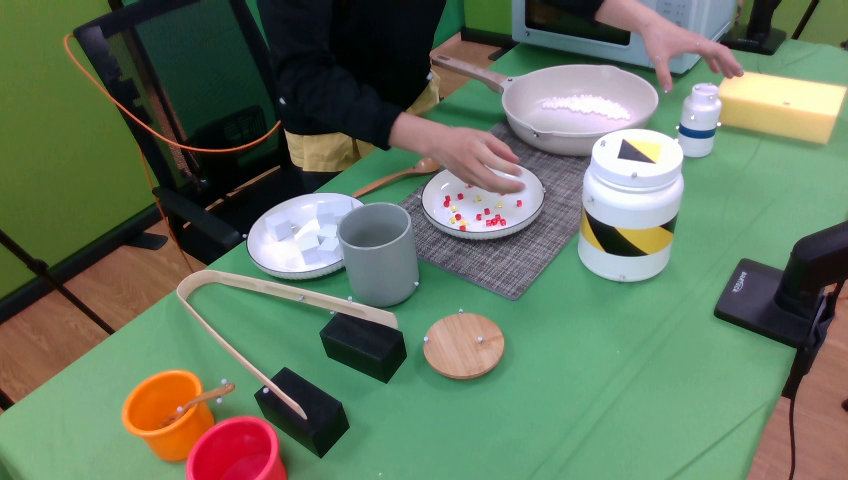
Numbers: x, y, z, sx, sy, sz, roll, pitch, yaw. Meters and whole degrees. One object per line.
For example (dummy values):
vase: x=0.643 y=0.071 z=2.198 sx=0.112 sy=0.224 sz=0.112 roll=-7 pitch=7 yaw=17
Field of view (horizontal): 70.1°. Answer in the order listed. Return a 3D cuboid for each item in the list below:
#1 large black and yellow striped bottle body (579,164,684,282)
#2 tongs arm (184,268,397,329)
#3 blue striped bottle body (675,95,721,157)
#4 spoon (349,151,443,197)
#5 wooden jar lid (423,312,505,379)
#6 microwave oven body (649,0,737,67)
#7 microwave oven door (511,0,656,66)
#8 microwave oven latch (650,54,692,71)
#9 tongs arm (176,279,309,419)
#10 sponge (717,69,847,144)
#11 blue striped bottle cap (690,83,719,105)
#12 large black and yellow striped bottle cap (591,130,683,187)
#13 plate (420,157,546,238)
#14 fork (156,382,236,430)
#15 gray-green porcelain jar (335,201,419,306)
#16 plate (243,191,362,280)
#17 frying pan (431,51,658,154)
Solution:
large black and yellow striped bottle body: x=0.291 y=-0.046 z=0.858 sx=0.131 sy=0.185 sz=0.130 roll=-4 pitch=41 yaw=4
tongs arm: x=-0.202 y=0.084 z=0.848 sx=0.382 sy=0.027 sz=0.051 roll=11 pitch=45 yaw=35
blue striped bottle body: x=0.486 y=-0.213 z=1.072 sx=0.063 sy=0.121 sz=0.063 roll=-4 pitch=41 yaw=4
spoon: x=-0.051 y=-0.123 z=1.121 sx=0.194 sy=0.022 sz=0.041 roll=-23 pitch=60 yaw=-18
wooden jar lid: x=0.053 y=0.142 z=0.800 sx=0.108 sy=0.021 sz=0.108 roll=-5 pitch=39 yaw=4
microwave oven body: x=0.475 y=-0.602 z=1.411 sx=0.438 sy=0.261 sz=0.327 roll=23 pitch=50 yaw=32
microwave oven door: x=0.351 y=-0.540 z=1.349 sx=0.353 sy=0.245 sz=0.039 roll=24 pitch=50 yaw=31
microwave oven latch: x=0.530 y=-0.386 z=1.301 sx=0.078 sy=0.029 sz=0.030 roll=24 pitch=50 yaw=32
tongs arm: x=-0.254 y=0.133 z=0.801 sx=0.028 sy=0.028 sz=0.384 roll=-41 pitch=40 yaw=-23
sponge: x=0.663 y=-0.256 z=1.141 sx=0.205 sy=0.061 sz=0.118 roll=19 pitch=47 yaw=27
blue striped bottle cap: x=0.481 y=-0.251 z=1.038 sx=0.044 sy=0.021 sz=0.044 roll=-6 pitch=40 yaw=5
large black and yellow striped bottle cap: x=0.282 y=-0.111 z=0.803 sx=0.115 sy=0.019 sz=0.114 roll=-3 pitch=41 yaw=3
plate: x=0.100 y=-0.068 z=1.017 sx=0.209 sy=0.038 sz=0.208 roll=-4 pitch=40 yaw=4
fork: x=-0.262 y=0.189 z=0.690 sx=0.018 sy=0.206 sz=0.028 roll=49 pitch=43 yaw=-7
gray-green porcelain jar: x=-0.064 y=0.024 z=0.872 sx=0.106 sy=0.127 sz=0.105 roll=-4 pitch=41 yaw=4
plate: x=-0.188 y=-0.005 z=0.992 sx=0.207 sy=0.039 sz=0.206 roll=-3 pitch=40 yaw=3
frying pan: x=0.216 y=-0.302 z=1.223 sx=0.484 sy=0.103 sz=0.308 roll=29 pitch=50 yaw=24
